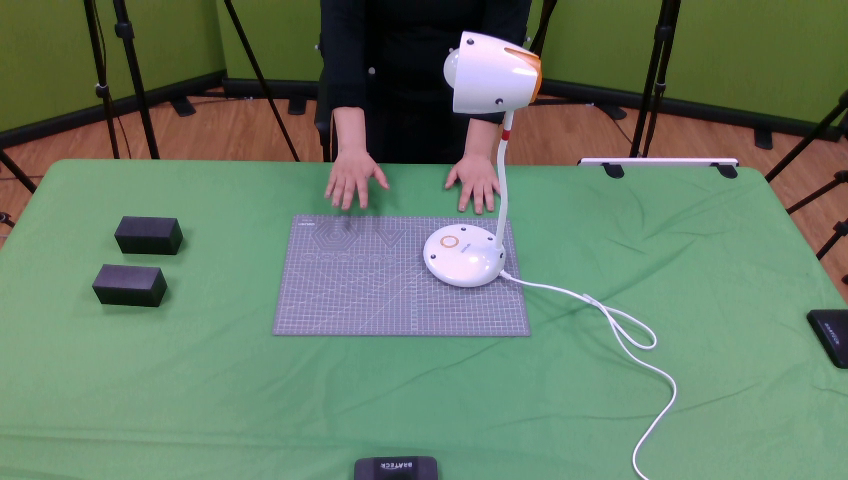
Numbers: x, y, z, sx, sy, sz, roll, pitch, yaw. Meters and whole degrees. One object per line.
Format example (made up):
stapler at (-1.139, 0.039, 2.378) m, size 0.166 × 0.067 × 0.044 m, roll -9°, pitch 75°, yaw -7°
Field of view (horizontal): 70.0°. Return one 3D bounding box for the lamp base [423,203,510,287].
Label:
lamp base at (0.092, -0.021, 1.111) m, size 0.179 × 0.181 × 0.160 m, roll 23°, pitch 49°, yaw 14°

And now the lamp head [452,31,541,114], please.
lamp head at (0.102, -0.228, 0.858) m, size 0.123 × 0.113 × 0.112 m, roll 11°, pitch 46°, yaw 0°
